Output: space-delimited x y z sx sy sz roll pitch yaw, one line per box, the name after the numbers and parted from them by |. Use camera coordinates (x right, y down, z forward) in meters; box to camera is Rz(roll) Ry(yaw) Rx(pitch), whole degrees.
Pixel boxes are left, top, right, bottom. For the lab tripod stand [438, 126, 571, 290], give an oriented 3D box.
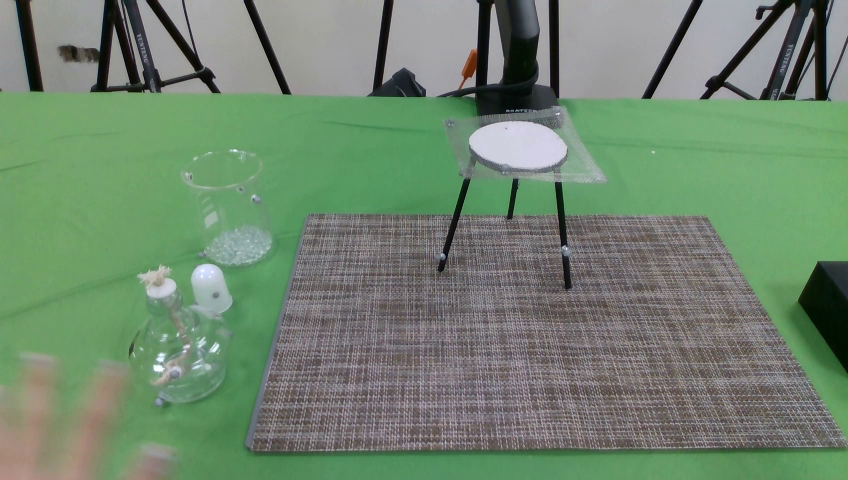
0.087 -0.031 0.584 0.148 0.132 0.147 2 37 -1 | lab tripod stand

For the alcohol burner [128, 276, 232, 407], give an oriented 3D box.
-0.191 0.072 0.466 0.078 0.120 0.077 2 39 -1 | alcohol burner

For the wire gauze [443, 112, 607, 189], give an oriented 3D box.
0.085 -0.081 0.539 0.125 0.011 0.120 -2 39 -6 | wire gauze

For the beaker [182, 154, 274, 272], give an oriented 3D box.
-0.191 -0.027 0.607 0.074 0.101 0.083 10 38 10 | beaker

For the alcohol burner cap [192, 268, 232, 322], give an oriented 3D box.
-0.197 0.048 0.557 0.034 0.048 0.033 1 38 0 | alcohol burner cap
